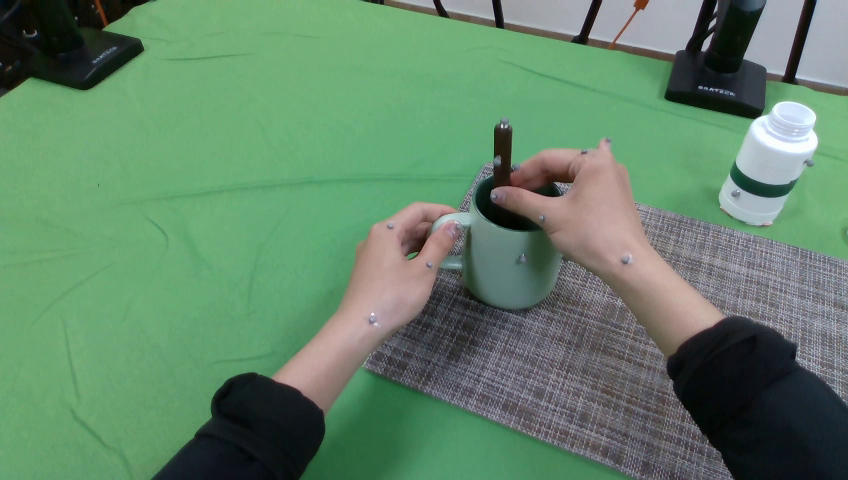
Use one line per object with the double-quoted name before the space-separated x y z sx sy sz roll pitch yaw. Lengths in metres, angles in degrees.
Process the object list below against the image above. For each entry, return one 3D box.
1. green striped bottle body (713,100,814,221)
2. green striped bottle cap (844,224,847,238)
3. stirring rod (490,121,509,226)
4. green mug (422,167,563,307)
"green striped bottle body" 0.345 -0.082 0.613 0.063 0.120 0.062 0 47 0
"green striped bottle cap" 0.455 -0.009 0.616 0.044 0.020 0.044 1 44 -1
"stirring rod" 0.062 -0.033 0.506 0.014 0.178 0.006 7 56 11
"green mug" 0.060 0.001 0.543 0.125 0.106 0.091 -5 47 -4
